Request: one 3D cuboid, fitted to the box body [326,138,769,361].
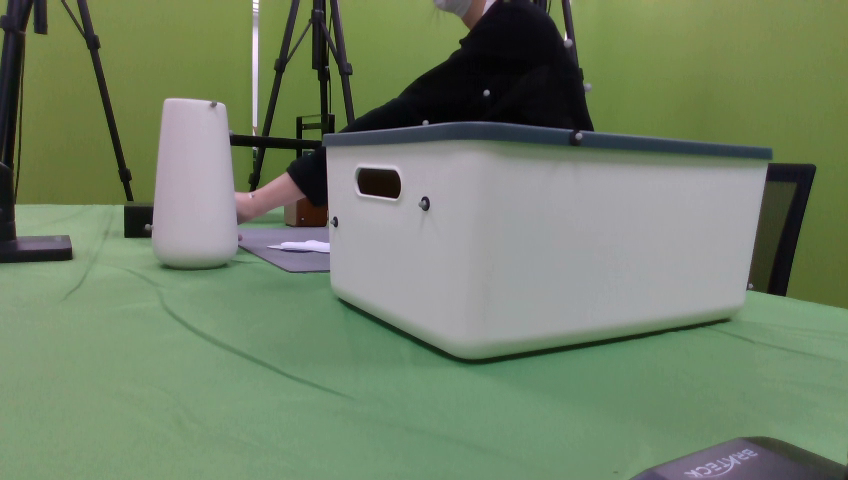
[{"bbox_3d":[0.112,-0.010,0.583,0.366,0.160,0.253,-2,9,-33],"label":"box body"}]

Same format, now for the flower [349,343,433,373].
[{"bbox_3d":[0.103,0.072,0.592,0.362,0.044,0.038,-16,44,-9],"label":"flower"}]

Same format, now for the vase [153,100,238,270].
[{"bbox_3d":[-0.278,-0.066,0.736,0.098,0.200,0.098,2,9,0],"label":"vase"}]

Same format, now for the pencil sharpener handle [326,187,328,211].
[{"bbox_3d":[-0.194,-0.094,1.256,0.031,0.067,0.036,-2,-6,-36],"label":"pencil sharpener handle"}]

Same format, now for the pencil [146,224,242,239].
[{"bbox_3d":[-0.339,-0.014,0.880,0.193,0.012,0.012,5,8,27],"label":"pencil"}]

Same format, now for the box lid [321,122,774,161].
[{"bbox_3d":[0.113,-0.085,0.573,0.373,0.015,0.262,-2,7,-33],"label":"box lid"}]

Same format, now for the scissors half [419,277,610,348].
[{"bbox_3d":[0.076,0.067,0.533,0.174,0.040,0.013,14,50,24],"label":"scissors half"}]

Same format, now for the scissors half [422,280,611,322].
[{"bbox_3d":[0.073,0.057,0.524,0.174,0.040,0.013,5,39,30],"label":"scissors half"}]

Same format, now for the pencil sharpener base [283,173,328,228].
[{"bbox_3d":[-0.239,-0.081,1.231,0.077,0.107,0.061,-2,8,-36],"label":"pencil sharpener base"}]
